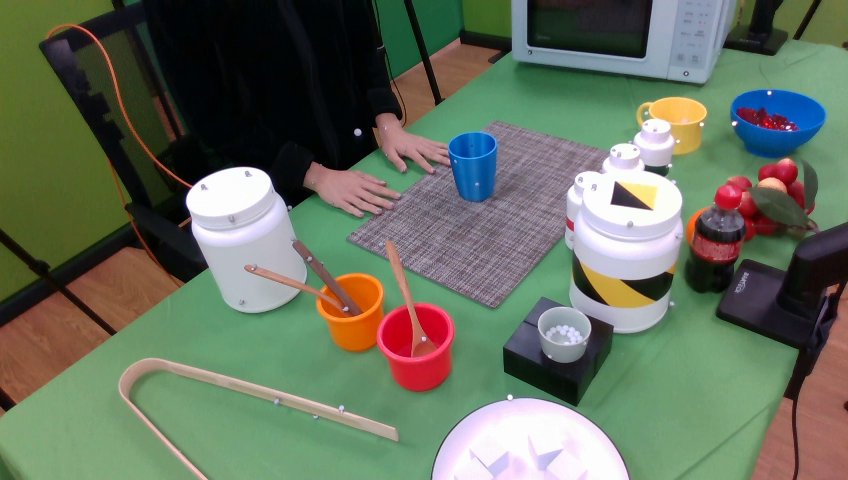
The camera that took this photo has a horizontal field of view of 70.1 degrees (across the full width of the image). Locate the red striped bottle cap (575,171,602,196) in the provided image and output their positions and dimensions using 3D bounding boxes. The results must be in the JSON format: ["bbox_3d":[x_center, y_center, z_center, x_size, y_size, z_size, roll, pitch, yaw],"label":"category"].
[{"bbox_3d":[0.242,-0.081,0.876,0.044,0.018,0.044,-5,44,5],"label":"red striped bottle cap"}]

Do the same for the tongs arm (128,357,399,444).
[{"bbox_3d":[-0.213,0.205,0.755,0.382,0.026,0.051,12,46,23],"label":"tongs arm"}]

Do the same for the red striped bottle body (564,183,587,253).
[{"bbox_3d":[0.246,-0.041,0.910,0.063,0.120,0.062,-2,38,2],"label":"red striped bottle body"}]

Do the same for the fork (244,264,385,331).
[{"bbox_3d":[-0.142,0.078,0.806,0.209,0.018,0.028,30,33,-24],"label":"fork"}]

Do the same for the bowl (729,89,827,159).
[{"bbox_3d":[0.615,-0.197,1.069,0.151,0.077,0.150,-5,40,5],"label":"bowl"}]

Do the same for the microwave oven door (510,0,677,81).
[{"bbox_3d":[0.354,-0.478,1.290,0.353,0.245,0.039,15,45,25],"label":"microwave oven door"}]

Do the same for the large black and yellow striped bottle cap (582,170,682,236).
[{"bbox_3d":[0.252,-0.048,0.735,0.115,0.019,0.114,-3,40,3],"label":"large black and yellow striped bottle cap"}]

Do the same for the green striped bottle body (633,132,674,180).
[{"bbox_3d":[0.376,-0.135,1.001,0.063,0.120,0.063,-5,40,5],"label":"green striped bottle body"}]

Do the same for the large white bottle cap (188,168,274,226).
[{"bbox_3d":[-0.265,-0.061,0.831,0.115,0.018,0.114,-4,40,4],"label":"large white bottle cap"}]

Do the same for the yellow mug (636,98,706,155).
[{"bbox_3d":[0.453,-0.217,1.128,0.100,0.064,0.129,-34,46,-27],"label":"yellow mug"}]

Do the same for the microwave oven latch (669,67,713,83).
[{"bbox_3d":[0.556,-0.348,1.261,0.078,0.029,0.030,16,46,27],"label":"microwave oven latch"}]

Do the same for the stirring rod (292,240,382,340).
[{"bbox_3d":[-0.119,0.068,0.826,0.176,0.006,0.014,49,58,-4],"label":"stirring rod"}]

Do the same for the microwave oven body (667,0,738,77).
[{"bbox_3d":[0.462,-0.552,1.369,0.439,0.261,0.326,15,45,26],"label":"microwave oven body"}]

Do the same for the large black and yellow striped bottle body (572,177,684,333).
[{"bbox_3d":[0.262,0.017,0.788,0.131,0.185,0.130,-5,40,4],"label":"large black and yellow striped bottle body"}]

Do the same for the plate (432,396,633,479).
[{"bbox_3d":[0.112,0.261,0.634,0.209,0.038,0.208,-5,40,4],"label":"plate"}]

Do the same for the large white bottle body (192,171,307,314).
[{"bbox_3d":[-0.256,0.003,0.885,0.130,0.185,0.130,-5,40,4],"label":"large white bottle body"}]

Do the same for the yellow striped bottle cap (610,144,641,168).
[{"bbox_3d":[0.307,-0.128,0.923,0.044,0.019,0.044,-6,40,5],"label":"yellow striped bottle cap"}]

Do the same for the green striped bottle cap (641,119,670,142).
[{"bbox_3d":[0.371,-0.175,0.968,0.044,0.020,0.044,-5,41,5],"label":"green striped bottle cap"}]

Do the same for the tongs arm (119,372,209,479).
[{"bbox_3d":[-0.258,0.257,0.700,0.384,0.028,0.028,24,55,34],"label":"tongs arm"}]

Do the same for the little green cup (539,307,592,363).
[{"bbox_3d":[0.168,0.114,0.721,0.061,0.039,0.061,-4,43,4],"label":"little green cup"}]

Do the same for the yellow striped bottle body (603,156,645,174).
[{"bbox_3d":[0.313,-0.089,0.956,0.063,0.121,0.062,-4,40,4],"label":"yellow striped bottle body"}]

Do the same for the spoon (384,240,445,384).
[{"bbox_3d":[-0.016,0.090,0.776,0.042,0.021,0.193,-17,85,-11],"label":"spoon"}]

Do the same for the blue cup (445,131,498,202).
[{"bbox_3d":[0.087,-0.122,1.040,0.092,0.100,0.092,-5,42,5],"label":"blue cup"}]
